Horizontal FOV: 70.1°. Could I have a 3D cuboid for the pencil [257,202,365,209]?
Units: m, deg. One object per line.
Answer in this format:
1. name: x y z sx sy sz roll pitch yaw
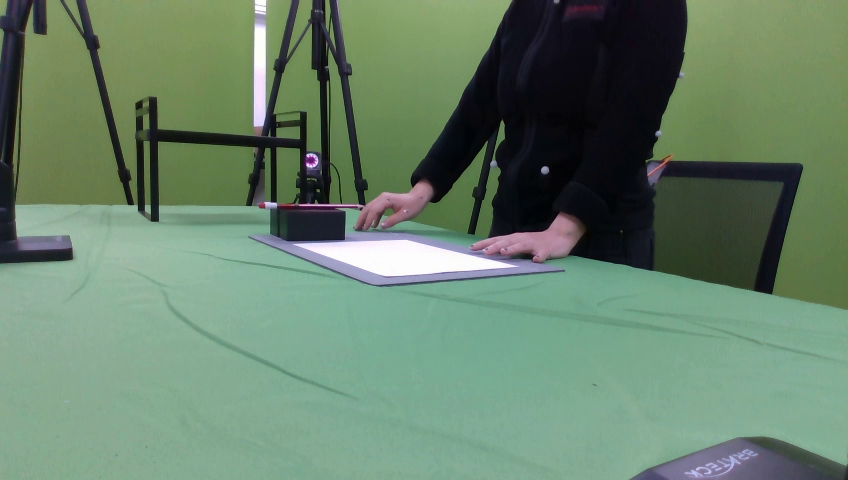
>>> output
1. pencil: -0.191 -0.060 1.046 0.195 0.012 0.012 -2 9 -30
